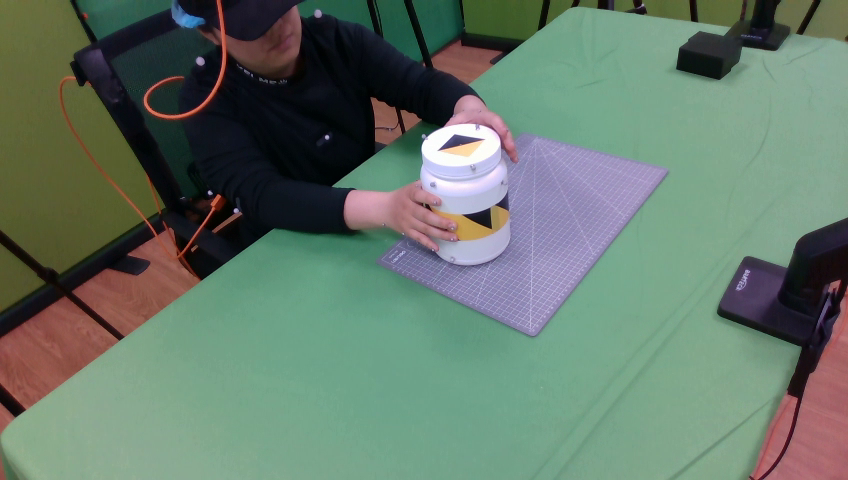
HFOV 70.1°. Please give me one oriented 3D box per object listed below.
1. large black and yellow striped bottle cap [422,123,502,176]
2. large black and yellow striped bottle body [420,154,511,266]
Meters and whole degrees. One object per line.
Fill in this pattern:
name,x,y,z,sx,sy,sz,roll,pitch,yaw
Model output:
large black and yellow striped bottle cap,0.054,-0.132,0.867,0.115,0.019,0.114,-5,41,5
large black and yellow striped bottle body,0.064,-0.067,0.920,0.131,0.185,0.130,-5,40,5
